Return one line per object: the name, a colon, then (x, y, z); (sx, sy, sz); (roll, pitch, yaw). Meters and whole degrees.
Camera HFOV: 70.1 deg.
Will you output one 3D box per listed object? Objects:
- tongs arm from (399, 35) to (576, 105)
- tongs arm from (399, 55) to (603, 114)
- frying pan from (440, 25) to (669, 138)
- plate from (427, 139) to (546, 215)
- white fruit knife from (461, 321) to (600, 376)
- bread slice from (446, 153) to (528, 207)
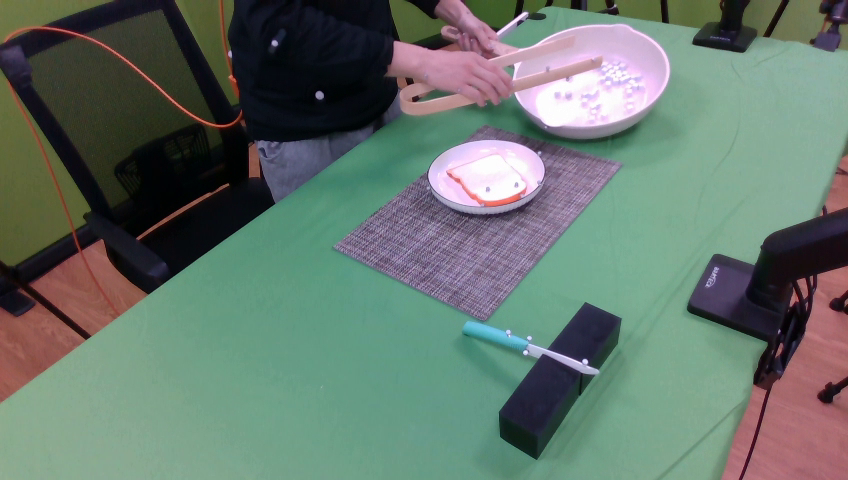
tongs arm: (0.122, -0.316, 1.107); (0.389, 0.028, 0.028); (-22, 55, -19)
tongs arm: (0.143, -0.283, 1.075); (0.386, 0.026, 0.050); (-19, 51, -16)
frying pan: (0.239, -0.353, 1.226); (0.485, 0.103, 0.307); (29, 65, 21)
plate: (0.109, -0.106, 1.058); (0.207, 0.039, 0.206); (-4, 40, 4)
white fruit knife: (0.126, 0.133, 0.752); (0.205, 0.027, 0.016); (12, 45, 42)
bread slice: (0.118, -0.104, 1.057); (0.107, 0.018, 0.133); (-24, 41, -17)
